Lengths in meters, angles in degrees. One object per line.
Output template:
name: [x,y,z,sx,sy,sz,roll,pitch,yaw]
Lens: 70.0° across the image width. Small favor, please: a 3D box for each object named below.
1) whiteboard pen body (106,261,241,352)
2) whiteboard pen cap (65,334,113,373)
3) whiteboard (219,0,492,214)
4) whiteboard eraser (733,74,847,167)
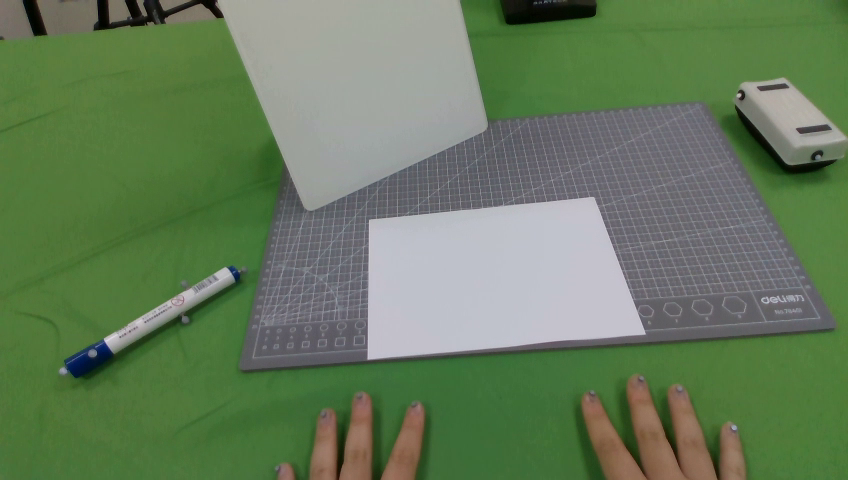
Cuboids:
whiteboard pen body: [-0.214,0.058,0.495,0.141,0.017,0.017,-34,52,-25]
whiteboard pen cap: [-0.258,0.087,0.470,0.033,0.018,0.018,-34,52,-26]
whiteboard: [-0.090,-0.221,0.592,0.217,0.308,0.142,-27,29,-17]
whiteboard eraser: [0.350,-0.115,0.585,0.055,0.042,0.111,-10,47,-1]
